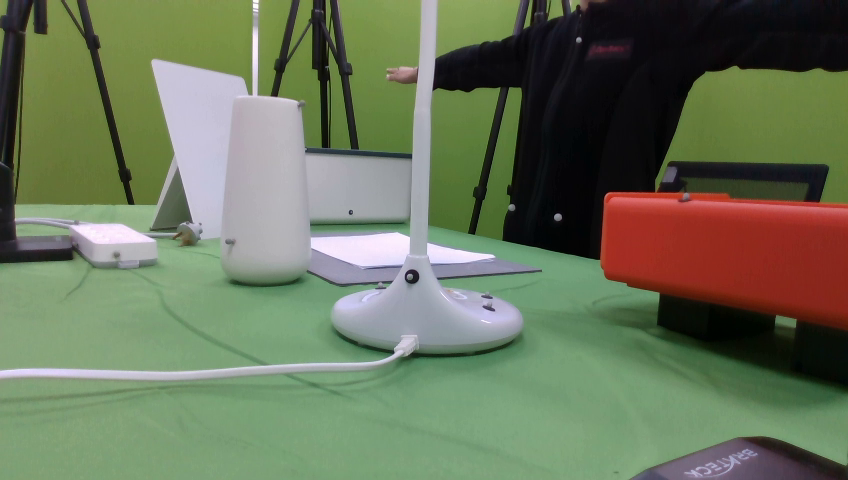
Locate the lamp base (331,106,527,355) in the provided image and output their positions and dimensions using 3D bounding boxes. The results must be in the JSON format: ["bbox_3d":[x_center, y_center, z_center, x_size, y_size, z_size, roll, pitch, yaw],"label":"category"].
[{"bbox_3d":[0.006,-0.012,0.478,0.161,0.180,0.179,2,10,2],"label":"lamp base"}]

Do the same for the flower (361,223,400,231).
[{"bbox_3d":[-0.232,-0.058,1.377,0.362,0.038,0.044,11,7,-6],"label":"flower"}]

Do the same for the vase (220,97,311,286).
[{"bbox_3d":[-0.172,-0.052,0.662,0.098,0.200,0.098,3,8,0],"label":"vase"}]

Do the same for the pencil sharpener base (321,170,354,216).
[{"bbox_3d":[-0.206,-0.112,1.437,0.077,0.107,0.061,1,6,-11],"label":"pencil sharpener base"}]

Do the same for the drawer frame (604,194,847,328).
[{"bbox_3d":[0.298,0.007,0.497,0.203,0.082,0.212,-1,7,-34],"label":"drawer frame"}]

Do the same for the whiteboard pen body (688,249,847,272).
[{"bbox_3d":[0.304,0.017,0.521,0.140,0.017,0.017,2,7,27],"label":"whiteboard pen body"}]

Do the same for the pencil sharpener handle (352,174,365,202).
[{"bbox_3d":[-0.156,-0.124,1.450,0.031,0.068,0.036,1,21,-11],"label":"pencil sharpener handle"}]

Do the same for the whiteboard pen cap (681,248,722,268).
[{"bbox_3d":[0.250,0.017,0.544,0.033,0.018,0.018,2,7,25],"label":"whiteboard pen cap"}]

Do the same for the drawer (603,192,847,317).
[{"bbox_3d":[0.293,0.002,0.500,0.195,0.073,0.210,-1,8,-34],"label":"drawer"}]

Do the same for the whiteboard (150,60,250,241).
[{"bbox_3d":[-0.408,-0.139,1.093,0.143,0.305,0.218,-15,-1,26],"label":"whiteboard"}]

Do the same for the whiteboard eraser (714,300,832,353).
[{"bbox_3d":[0.256,0.042,0.472,0.112,0.042,0.056,44,20,31],"label":"whiteboard eraser"}]

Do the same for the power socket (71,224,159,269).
[{"bbox_3d":[-0.409,0.004,0.792,0.072,0.032,0.225,-2,8,-37],"label":"power socket"}]

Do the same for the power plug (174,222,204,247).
[{"bbox_3d":[-0.360,0.000,0.917,0.072,0.035,0.053,-42,4,39],"label":"power plug"}]

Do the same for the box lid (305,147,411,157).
[{"bbox_3d":[-0.229,-0.200,1.361,0.373,0.015,0.262,-2,9,-33],"label":"box lid"}]

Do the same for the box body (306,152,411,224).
[{"bbox_3d":[-0.230,-0.126,1.372,0.366,0.160,0.253,-2,8,-33],"label":"box body"}]

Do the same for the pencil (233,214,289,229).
[{"bbox_3d":[-0.333,-0.038,1.244,0.012,0.012,0.194,5,11,18],"label":"pencil"}]
